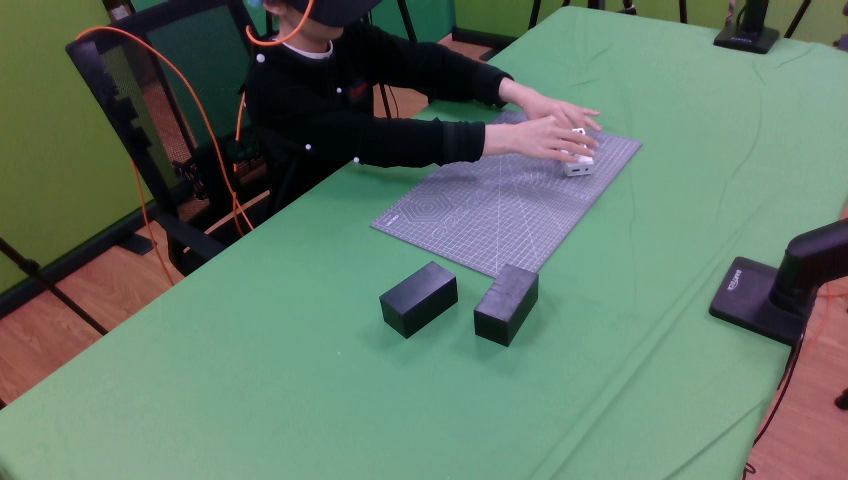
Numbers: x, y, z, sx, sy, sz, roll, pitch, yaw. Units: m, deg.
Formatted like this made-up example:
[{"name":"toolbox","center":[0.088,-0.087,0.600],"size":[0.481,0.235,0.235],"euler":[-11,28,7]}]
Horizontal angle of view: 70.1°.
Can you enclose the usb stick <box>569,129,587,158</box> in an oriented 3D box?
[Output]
[{"name":"usb stick","center":[0.273,-0.166,1.074],"size":[0.027,0.059,0.021],"euler":[-6,40,-1]}]

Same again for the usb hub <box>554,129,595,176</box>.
[{"name":"usb hub","center":[0.278,-0.163,1.119],"size":[0.049,0.025,0.124],"euler":[-6,41,1]}]
